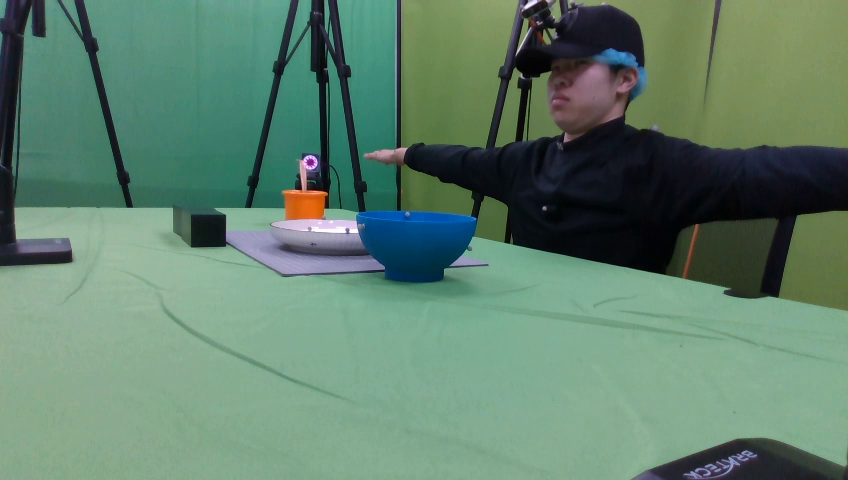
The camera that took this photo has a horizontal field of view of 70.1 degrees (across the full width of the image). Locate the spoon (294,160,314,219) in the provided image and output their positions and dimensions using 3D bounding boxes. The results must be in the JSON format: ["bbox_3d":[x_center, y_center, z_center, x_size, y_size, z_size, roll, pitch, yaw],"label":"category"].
[{"bbox_3d":[-0.253,-0.102,1.270,0.042,0.193,0.021,3,-38,-17],"label":"spoon"}]

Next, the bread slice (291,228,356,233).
[{"bbox_3d":[-0.143,-0.003,0.953,0.135,0.018,0.106,-1,9,-37],"label":"bread slice"}]

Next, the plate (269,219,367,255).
[{"bbox_3d":[-0.140,-0.006,0.958,0.209,0.038,0.209,3,7,0],"label":"plate"}]

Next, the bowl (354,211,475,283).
[{"bbox_3d":[-0.013,0.008,0.749,0.151,0.077,0.151,2,7,0],"label":"bowl"}]
